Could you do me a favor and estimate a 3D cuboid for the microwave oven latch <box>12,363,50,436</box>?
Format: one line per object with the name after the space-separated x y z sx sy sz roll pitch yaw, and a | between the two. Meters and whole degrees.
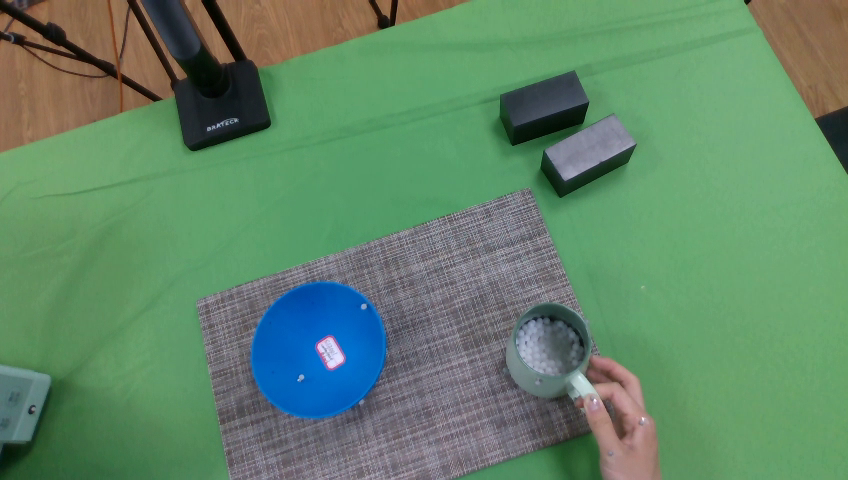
-0.473 0.188 0.715 0.030 0.030 0.079 11 73 9 | microwave oven latch

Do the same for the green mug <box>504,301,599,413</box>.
0.143 0.130 0.651 0.092 0.106 0.124 -34 69 -7 | green mug

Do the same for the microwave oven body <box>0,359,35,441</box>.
-0.659 0.301 0.593 0.325 0.262 0.439 8 73 8 | microwave oven body

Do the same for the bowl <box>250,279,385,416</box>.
-0.113 0.127 0.694 0.151 0.077 0.150 -2 71 5 | bowl
